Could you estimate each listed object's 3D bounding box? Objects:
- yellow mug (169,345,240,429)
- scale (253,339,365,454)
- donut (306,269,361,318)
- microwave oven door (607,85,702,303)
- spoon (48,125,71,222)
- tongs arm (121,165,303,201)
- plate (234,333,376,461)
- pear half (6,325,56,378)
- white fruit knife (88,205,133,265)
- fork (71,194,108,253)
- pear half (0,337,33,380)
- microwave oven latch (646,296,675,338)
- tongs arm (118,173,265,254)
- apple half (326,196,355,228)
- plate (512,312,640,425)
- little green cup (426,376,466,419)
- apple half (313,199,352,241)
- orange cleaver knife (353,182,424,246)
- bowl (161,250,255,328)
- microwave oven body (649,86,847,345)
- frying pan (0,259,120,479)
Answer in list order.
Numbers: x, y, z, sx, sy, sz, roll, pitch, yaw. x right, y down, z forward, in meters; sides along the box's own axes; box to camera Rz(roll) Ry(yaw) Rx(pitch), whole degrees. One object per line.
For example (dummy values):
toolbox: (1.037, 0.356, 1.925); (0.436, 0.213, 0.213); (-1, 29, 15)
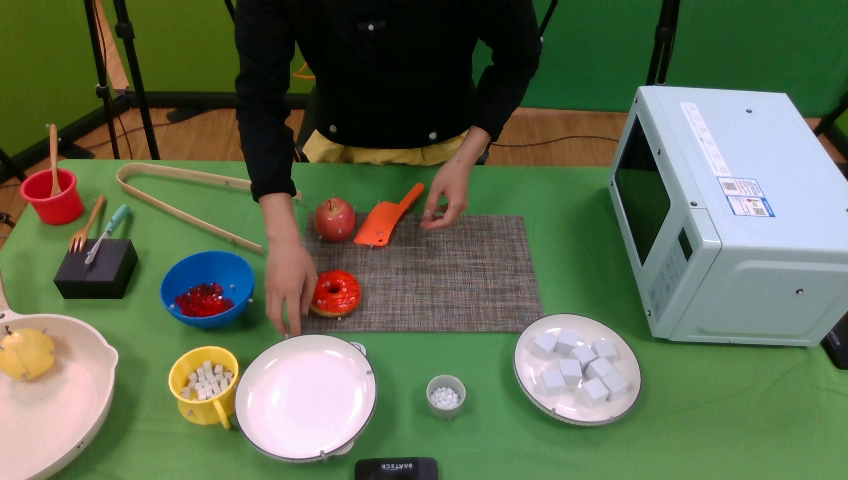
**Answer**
yellow mug: (-0.322, 0.231, 0.922); (0.100, 0.064, 0.130); (-24, 53, -25)
scale: (-0.175, 0.236, 0.951); (0.149, 0.032, 0.199); (4, 46, 0)
donut: (-0.159, 0.094, 1.074); (0.099, 0.048, 0.098); (3, 46, -3)
microwave oven door: (0.423, -0.094, 1.140); (0.039, 0.245, 0.353); (2, 46, -1)
spoon: (-0.718, -0.131, 1.188); (0.041, 0.021, 0.193); (-3, 90, -7)
tongs arm: (-0.444, -0.113, 1.267); (0.384, 0.026, 0.050); (11, 51, 8)
plate: (-0.174, 0.235, 0.907); (0.209, 0.038, 0.208); (2, 46, -2)
pear half: (-0.608, 0.158, 0.935); (0.076, 0.110, 0.056); (31, 51, 20)
white fruit knife: (-0.584, -0.013, 1.129); (0.016, 0.027, 0.206); (0, 31, -5)
fork: (-0.634, -0.036, 1.158); (0.028, 0.019, 0.206); (-8, 31, -8)
pear half: (-0.631, 0.184, 0.921); (0.070, 0.088, 0.031); (29, 49, 19)
microwave oven latch: (0.412, 0.134, 1.061); (0.030, 0.029, 0.078); (4, 45, 1)
tongs arm: (-0.473, -0.053, 1.212); (0.386, 0.028, 0.028); (23, 57, 18)
apple half: (-0.159, -0.054, 1.196); (0.081, 0.082, 0.033); (34, 56, 26)
plate: (0.246, 0.213, 0.999); (0.208, 0.039, 0.206); (2, 46, -2)
little green cup: (0.033, 0.248, 0.950); (0.061, 0.039, 0.061); (2, 46, -2)
apple half: (-0.184, -0.033, 1.176); (0.080, 0.075, 0.053); (36, 57, 22)
orange cleaver knife: (-0.069, -0.059, 1.245); (0.077, 0.012, 0.210); (18, 50, 21)
bowl: (-0.362, 0.097, 1.040); (0.151, 0.077, 0.150); (2, 45, -2)
microwave oven body: (0.568, -0.053, 1.118); (0.326, 0.261, 0.439); (2, 45, -1)
frying pan: (-0.647, 0.164, 0.936); (0.307, 0.103, 0.485); (-19, 58, -22)
